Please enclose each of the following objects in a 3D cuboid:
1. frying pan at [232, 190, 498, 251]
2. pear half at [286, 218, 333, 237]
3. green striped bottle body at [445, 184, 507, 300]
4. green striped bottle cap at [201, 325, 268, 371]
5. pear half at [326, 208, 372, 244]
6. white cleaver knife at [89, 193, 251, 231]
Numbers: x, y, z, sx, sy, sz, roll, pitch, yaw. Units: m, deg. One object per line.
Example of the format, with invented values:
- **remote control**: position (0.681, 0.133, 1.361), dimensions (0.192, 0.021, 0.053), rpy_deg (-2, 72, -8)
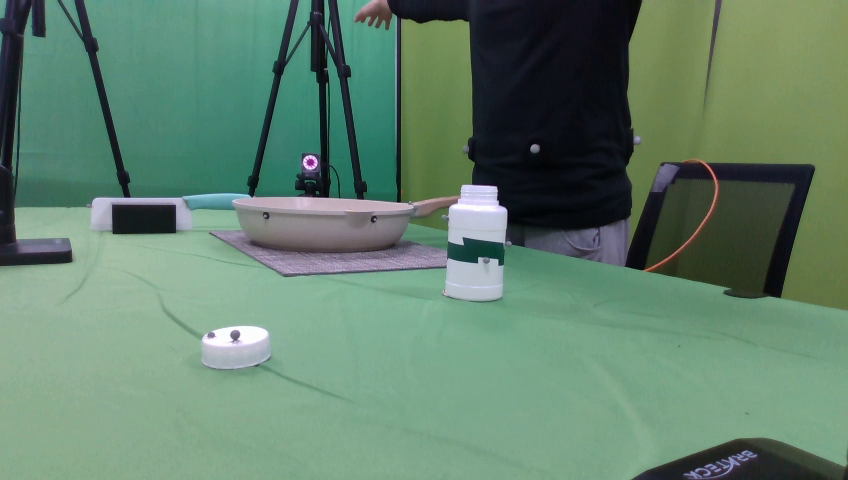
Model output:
- **frying pan**: position (-0.073, -0.051, 1.048), dimensions (0.490, 0.102, 0.305), rpy_deg (-11, 13, -27)
- **pear half**: position (-0.197, -0.022, 1.054), dimensions (0.088, 0.031, 0.070), rpy_deg (-9, 18, -44)
- **green striped bottle body**: position (0.055, 0.000, 0.644), dimensions (0.063, 0.119, 0.063), rpy_deg (2, 7, 0)
- **green striped bottle cap**: position (-0.129, 0.073, 0.415), dimensions (0.044, 0.020, 0.044), rpy_deg (3, 8, 0)
- **pear half**: position (-0.128, -0.026, 1.017), dimensions (0.076, 0.056, 0.109), rpy_deg (5, 4, -19)
- **white cleaver knife**: position (-0.454, -0.052, 1.114), dimensions (0.288, 0.066, 0.021), rpy_deg (-4, 14, -27)
